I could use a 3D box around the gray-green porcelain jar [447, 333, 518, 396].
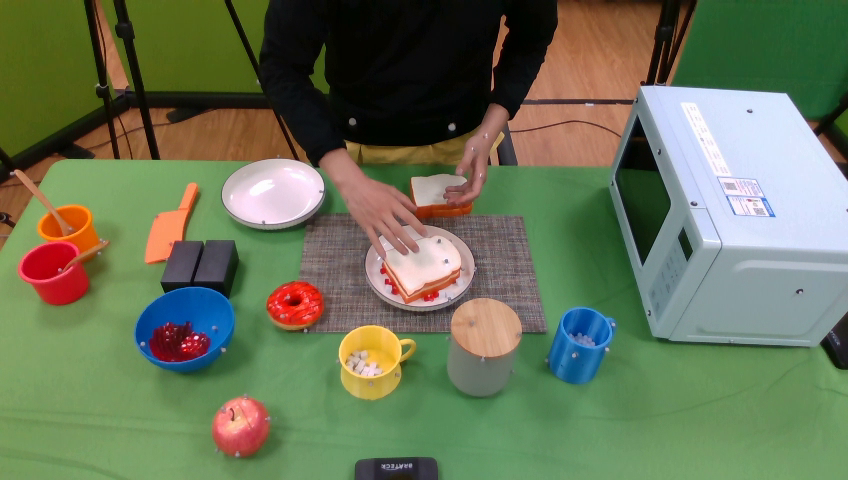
[{"bbox_3d":[0.091,0.178,0.960,0.106,0.127,0.105,2,46,-2],"label":"gray-green porcelain jar"}]

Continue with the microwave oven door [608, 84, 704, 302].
[{"bbox_3d":[0.424,-0.096,1.138,0.039,0.245,0.353,2,47,-1],"label":"microwave oven door"}]

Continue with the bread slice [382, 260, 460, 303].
[{"bbox_3d":[0.000,0.054,1.129,0.131,0.019,0.104,-21,52,-21],"label":"bread slice"}]

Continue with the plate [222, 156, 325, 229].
[{"bbox_3d":[-0.308,-0.095,1.251,0.209,0.038,0.208,2,47,-2],"label":"plate"}]

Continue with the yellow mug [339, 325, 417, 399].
[{"bbox_3d":[-0.072,0.191,0.978,0.131,0.064,0.099,-17,49,-20],"label":"yellow mug"}]

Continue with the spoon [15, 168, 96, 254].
[{"bbox_3d":[-0.675,-0.053,1.109,0.021,0.194,0.041,-14,24,51],"label":"spoon"}]

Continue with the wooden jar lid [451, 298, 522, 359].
[{"bbox_3d":[0.093,0.135,0.914,0.108,0.021,0.107,2,48,-3],"label":"wooden jar lid"}]

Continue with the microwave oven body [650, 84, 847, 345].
[{"bbox_3d":[0.569,-0.054,1.116,0.326,0.261,0.439,2,46,-1],"label":"microwave oven body"}]

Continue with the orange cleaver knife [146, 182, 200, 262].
[{"bbox_3d":[-0.494,-0.039,1.198,0.077,0.012,0.210,-4,48,2],"label":"orange cleaver knife"}]

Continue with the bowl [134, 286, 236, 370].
[{"bbox_3d":[-0.377,0.156,0.981,0.151,0.077,0.150,2,46,-2],"label":"bowl"}]

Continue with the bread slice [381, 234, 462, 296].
[{"bbox_3d":[0.001,0.038,1.107,0.134,0.018,0.106,-24,56,-24],"label":"bread slice"}]

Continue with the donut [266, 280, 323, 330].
[{"bbox_3d":[-0.223,0.112,1.051,0.099,0.048,0.098,2,46,-2],"label":"donut"}]

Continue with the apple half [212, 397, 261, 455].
[{"bbox_3d":[-0.276,0.276,0.877,0.053,0.075,0.080,-29,58,-21],"label":"apple half"}]

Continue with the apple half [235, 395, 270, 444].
[{"bbox_3d":[-0.245,0.260,0.893,0.033,0.082,0.081,-29,55,-22],"label":"apple half"}]

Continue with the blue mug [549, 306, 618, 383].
[{"bbox_3d":[0.269,0.167,0.997,0.116,0.106,0.082,-19,50,-21],"label":"blue mug"}]

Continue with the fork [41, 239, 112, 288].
[{"bbox_3d":[-0.591,0.040,1.028,0.207,0.019,0.028,-27,36,29],"label":"fork"}]

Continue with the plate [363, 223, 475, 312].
[{"bbox_3d":[-0.009,0.054,1.126,0.208,0.039,0.206,2,47,-2],"label":"plate"}]

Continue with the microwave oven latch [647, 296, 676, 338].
[{"bbox_3d":[0.413,0.133,1.060,0.030,0.029,0.078,4,46,1],"label":"microwave oven latch"}]
